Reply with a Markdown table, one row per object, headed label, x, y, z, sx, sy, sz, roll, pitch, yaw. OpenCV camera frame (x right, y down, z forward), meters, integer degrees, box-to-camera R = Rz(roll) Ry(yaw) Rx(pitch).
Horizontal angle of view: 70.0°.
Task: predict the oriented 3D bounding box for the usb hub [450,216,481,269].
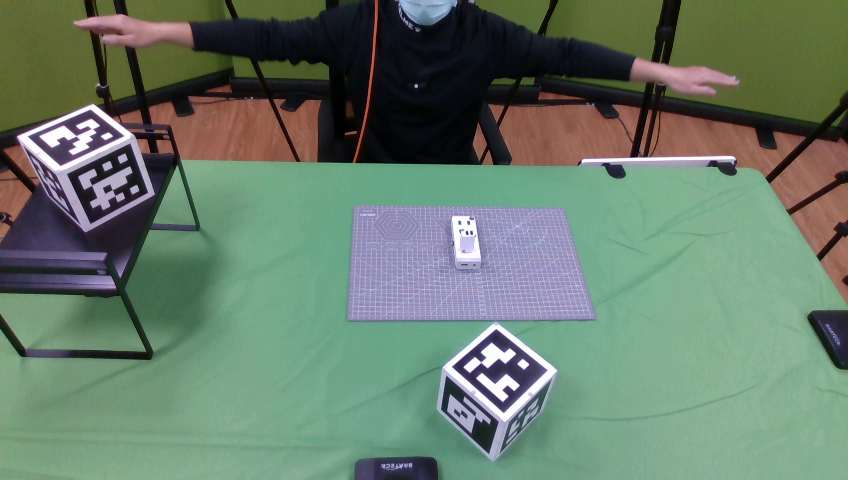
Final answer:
| label | x | y | z | sx | sy | sz | roll | pitch | yaw |
| --- | --- | --- | --- | --- | --- | --- | --- | --- | --- |
| usb hub | 0.082 | 0.004 | 1.194 | 0.049 | 0.025 | 0.124 | 1 | 46 | -4 |

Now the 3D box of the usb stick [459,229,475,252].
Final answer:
| label | x | y | z | sx | sy | sz | roll | pitch | yaw |
| --- | --- | --- | --- | --- | --- | --- | --- | --- | --- |
| usb stick | 0.081 | 0.006 | 1.151 | 0.027 | 0.059 | 0.021 | -1 | 45 | -6 |
